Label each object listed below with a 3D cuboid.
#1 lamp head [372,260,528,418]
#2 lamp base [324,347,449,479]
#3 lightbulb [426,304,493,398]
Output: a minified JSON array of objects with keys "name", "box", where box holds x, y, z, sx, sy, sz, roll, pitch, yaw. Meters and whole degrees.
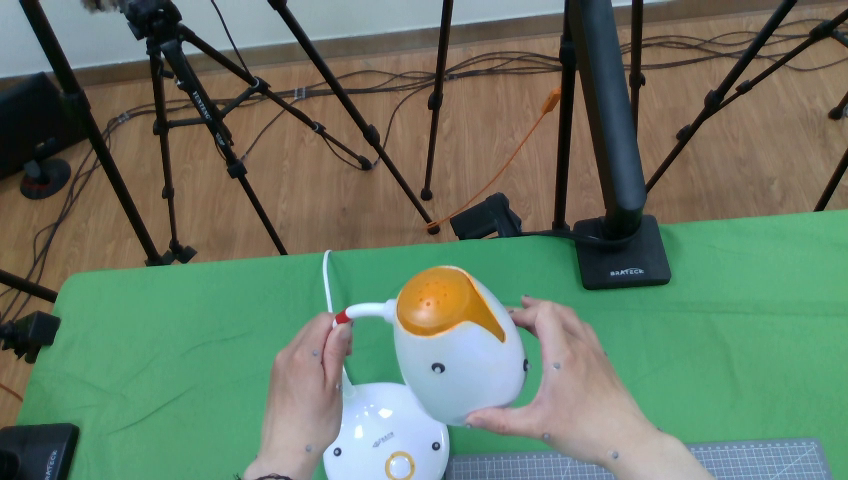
[{"name":"lamp head","box":[0.019,0.073,0.504,0.112,0.124,0.111,-14,46,16]},{"name":"lamp base","box":[-0.066,0.203,0.709,0.160,0.182,0.177,-40,59,-16]},{"name":"lightbulb","box":[0.027,0.092,0.517,0.059,0.109,0.059,-7,45,8]}]
